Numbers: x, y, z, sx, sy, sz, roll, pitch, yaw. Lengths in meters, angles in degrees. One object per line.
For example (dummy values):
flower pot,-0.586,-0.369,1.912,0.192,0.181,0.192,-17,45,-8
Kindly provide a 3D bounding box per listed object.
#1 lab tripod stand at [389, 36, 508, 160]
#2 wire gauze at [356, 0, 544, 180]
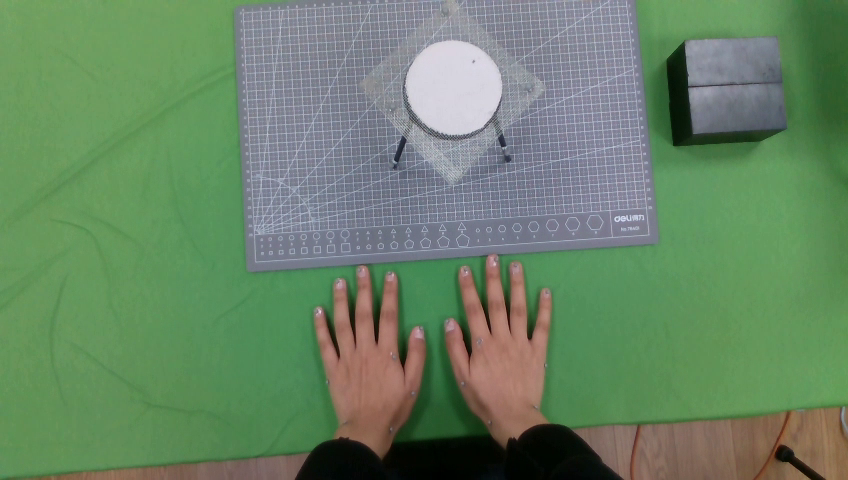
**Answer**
lab tripod stand,0.027,-0.133,0.605,0.148,0.131,0.148,0,84,-2
wire gauze,0.023,-0.138,0.538,0.121,0.011,0.125,-44,88,-4
